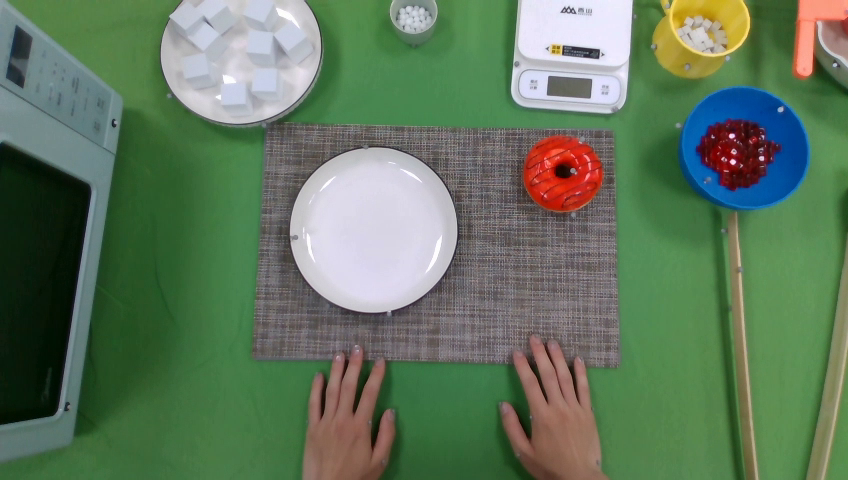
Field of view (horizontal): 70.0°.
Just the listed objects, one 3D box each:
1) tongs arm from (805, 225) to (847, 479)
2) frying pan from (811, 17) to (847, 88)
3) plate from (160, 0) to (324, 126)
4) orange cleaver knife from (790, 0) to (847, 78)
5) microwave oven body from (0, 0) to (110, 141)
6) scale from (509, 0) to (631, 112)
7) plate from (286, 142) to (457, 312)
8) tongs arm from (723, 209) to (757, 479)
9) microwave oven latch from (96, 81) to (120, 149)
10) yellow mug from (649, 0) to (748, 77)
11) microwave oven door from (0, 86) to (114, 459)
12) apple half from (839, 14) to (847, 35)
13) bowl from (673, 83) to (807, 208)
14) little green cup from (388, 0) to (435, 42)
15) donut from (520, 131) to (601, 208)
[{"bbox_3d":[0.480,0.162,0.724,0.028,0.028,0.386,16,83,-4],"label":"tongs arm"},{"bbox_3d":[0.663,-0.211,0.744,0.307,0.103,0.484,-25,74,-2],"label":"frying pan"},{"bbox_3d":[-0.231,-0.244,0.787,0.208,0.039,0.207,0,81,0],"label":"plate"},{"bbox_3d":[0.482,-0.298,0.741,0.077,0.012,0.210,6,82,4],"label":"orange cleaver knife"},{"bbox_3d":[-0.563,-0.009,0.635,0.326,0.261,0.440,4,82,0],"label":"microwave oven body"},{"bbox_3d":[0.192,-0.271,0.792,0.148,0.031,0.200,6,82,2],"label":"scale"},{"bbox_3d":[-0.063,-0.015,0.746,0.209,0.038,0.208,0,81,0],"label":"plate"},{"bbox_3d":[0.394,0.153,0.724,0.051,0.026,0.383,1,83,-3],"label":"tongs arm"},{"bbox_3d":[-0.401,-0.156,0.755,0.030,0.029,0.079,5,82,1],"label":"microwave oven latch"},{"bbox_3d":[0.340,-0.282,0.776,0.100,0.064,0.130,-31,81,-4],"label":"yellow mug"},{"bbox_3d":[-0.420,0.042,0.621,0.039,0.244,0.354,4,81,1],"label":"microwave oven door"},{"bbox_3d":[0.565,-0.286,0.767,0.080,0.075,0.053,42,87,4],"label":"apple half"},{"bbox_3d":[0.371,-0.106,0.743,0.151,0.077,0.151,0,82,1],"label":"bowl"},{"bbox_3d":[-0.015,-0.292,0.793,0.061,0.039,0.061,0,80,1],"label":"little green cup"},{"bbox_3d":[0.168,-0.087,0.754,0.099,0.048,0.098,0,81,2],"label":"donut"}]
